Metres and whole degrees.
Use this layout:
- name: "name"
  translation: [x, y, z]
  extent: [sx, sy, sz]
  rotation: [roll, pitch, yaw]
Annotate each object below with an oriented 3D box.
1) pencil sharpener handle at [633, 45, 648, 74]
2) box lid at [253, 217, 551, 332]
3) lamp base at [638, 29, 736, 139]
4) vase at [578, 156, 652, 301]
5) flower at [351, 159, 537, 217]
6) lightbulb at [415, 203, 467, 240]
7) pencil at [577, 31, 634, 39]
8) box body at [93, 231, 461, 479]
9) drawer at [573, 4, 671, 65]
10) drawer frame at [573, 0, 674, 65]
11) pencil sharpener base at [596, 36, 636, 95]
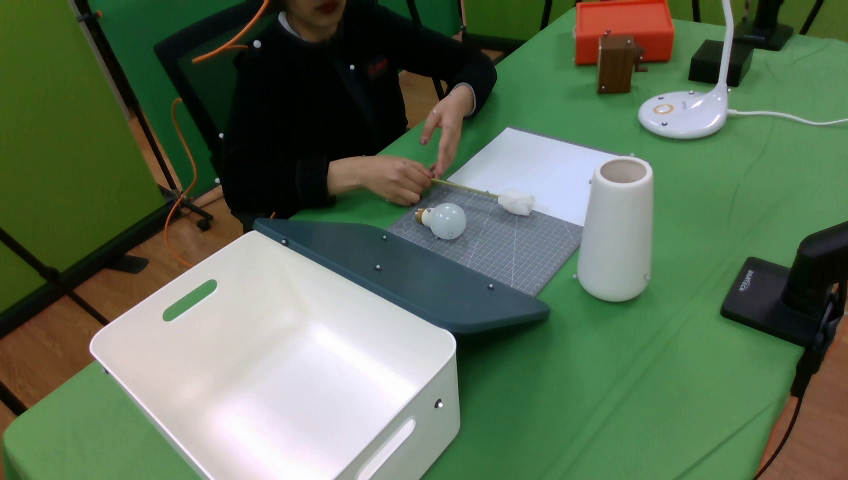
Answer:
- name: "pencil sharpener handle"
  translation: [0.454, -0.378, 1.262]
  extent: [0.030, 0.068, 0.036]
  rotation: [1, 47, 13]
- name: "box lid"
  translation: [-0.031, 0.037, 0.833]
  extent: [0.368, 0.015, 0.265]
  rotation: [24, 12, 33]
- name: "lamp base"
  translation: [0.501, -0.302, 1.125]
  extent: [0.179, 0.181, 0.160]
  rotation: [-4, 40, 3]
- name: "vase"
  translation: [0.261, -0.011, 0.812]
  extent: [0.098, 0.201, 0.097]
  rotation: [-4, 40, 4]
- name: "flower"
  translation: [0.024, -0.102, 1.071]
  extent: [0.359, 0.044, 0.038]
  rotation: [17, 53, 22]
- name: "lightbulb"
  translation: [0.024, -0.034, 0.998]
  extent: [0.060, 0.060, 0.107]
  rotation: [-38, 32, -30]
- name: "pencil"
  translation: [0.431, -0.489, 1.443]
  extent: [0.012, 0.012, 0.192]
  rotation: [-25, 30, -18]
- name: "box body"
  translation: [-0.162, 0.170, 0.708]
  extent: [0.361, 0.161, 0.255]
  rotation: [25, 50, 34]
- name: "drawer"
  translation: [0.461, -0.490, 1.435]
  extent: [0.211, 0.073, 0.194]
  rotation: [2, 40, 12]
- name: "drawer frame"
  translation: [0.464, -0.492, 1.434]
  extent: [0.213, 0.083, 0.201]
  rotation: [1, 40, 12]
- name: "pencil sharpener base"
  translation: [0.406, -0.369, 1.280]
  extent: [0.076, 0.107, 0.061]
  rotation: [1, 41, 13]
